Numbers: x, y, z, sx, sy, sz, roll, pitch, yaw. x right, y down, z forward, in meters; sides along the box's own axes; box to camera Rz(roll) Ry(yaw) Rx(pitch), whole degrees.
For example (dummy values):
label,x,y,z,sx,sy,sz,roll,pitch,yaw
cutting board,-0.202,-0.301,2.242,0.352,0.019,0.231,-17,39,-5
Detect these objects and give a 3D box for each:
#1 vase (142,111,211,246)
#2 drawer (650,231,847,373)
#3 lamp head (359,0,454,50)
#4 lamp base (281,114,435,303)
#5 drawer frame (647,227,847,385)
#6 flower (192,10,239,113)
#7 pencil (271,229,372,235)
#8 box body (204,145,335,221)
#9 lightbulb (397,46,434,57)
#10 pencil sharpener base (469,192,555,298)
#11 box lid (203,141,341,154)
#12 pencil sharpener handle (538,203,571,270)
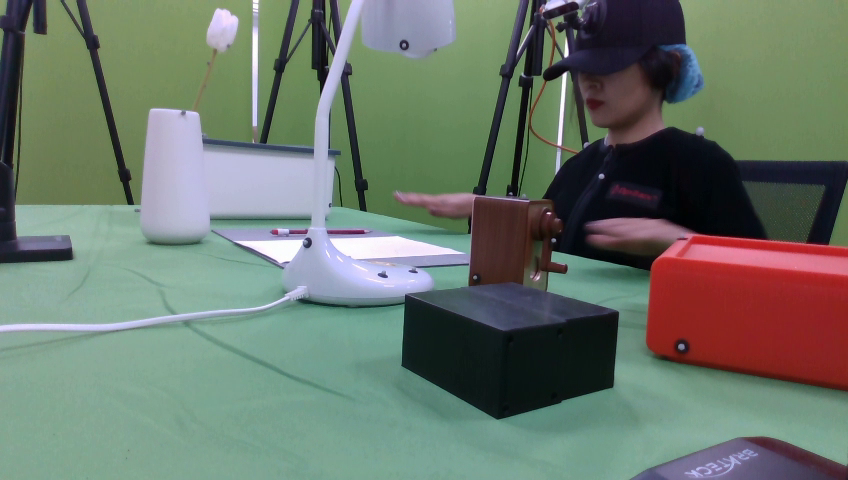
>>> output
label,x,y,z,sx,sy,sz,roll,pitch,yaw
vase,-0.378,-0.093,0.920,0.098,0.200,0.098,2,9,0
drawer,0.303,0.044,0.499,0.194,0.073,0.212,7,9,27
lamp head,-0.024,-0.283,0.674,0.112,0.123,0.112,-3,38,3
lamp base,-0.071,-0.035,0.614,0.160,0.180,0.180,6,10,27
drawer frame,0.303,0.043,0.495,0.201,0.082,0.214,6,9,26
flower,-0.354,-0.174,0.916,0.038,0.361,0.044,18,-3,12
pencil,-0.178,-0.014,1.081,0.195,0.012,0.012,0,7,-34
box body,-0.411,-0.135,1.386,0.366,0.160,0.253,-2,9,-29
lightbulb,-0.017,-0.264,0.692,0.059,0.108,0.059,-9,29,5
pencil sharpener base,0.097,0.003,0.652,0.076,0.107,0.061,8,9,38
box lid,-0.396,-0.212,1.373,0.373,0.015,0.262,-1,9,-29
pencil sharpener handle,0.137,-0.003,0.619,0.030,0.067,0.036,8,5,38
